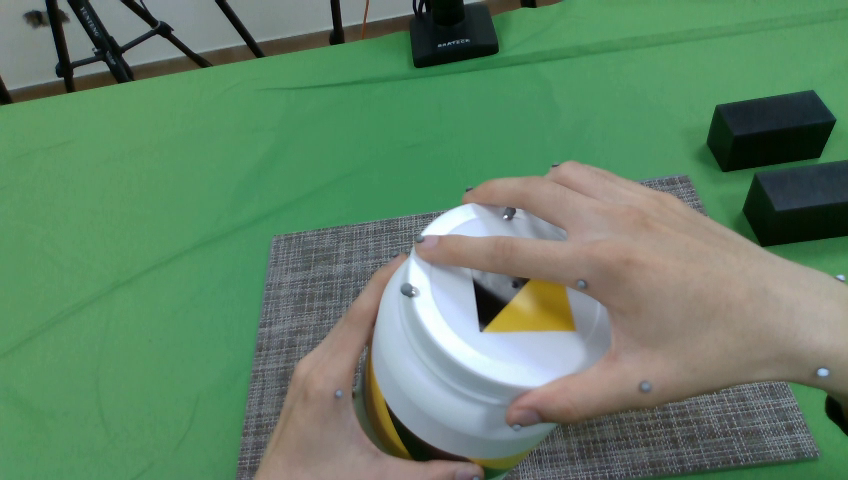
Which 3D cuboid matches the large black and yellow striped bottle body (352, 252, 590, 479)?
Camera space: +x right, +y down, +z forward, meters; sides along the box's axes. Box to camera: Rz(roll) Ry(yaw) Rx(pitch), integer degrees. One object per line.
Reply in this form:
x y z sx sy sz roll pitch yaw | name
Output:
0.026 0.076 0.391 0.131 0.185 0.129 7 53 -9 | large black and yellow striped bottle body

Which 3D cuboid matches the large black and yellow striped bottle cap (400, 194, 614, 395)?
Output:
0.045 0.024 0.321 0.115 0.019 0.114 6 56 -9 | large black and yellow striped bottle cap
